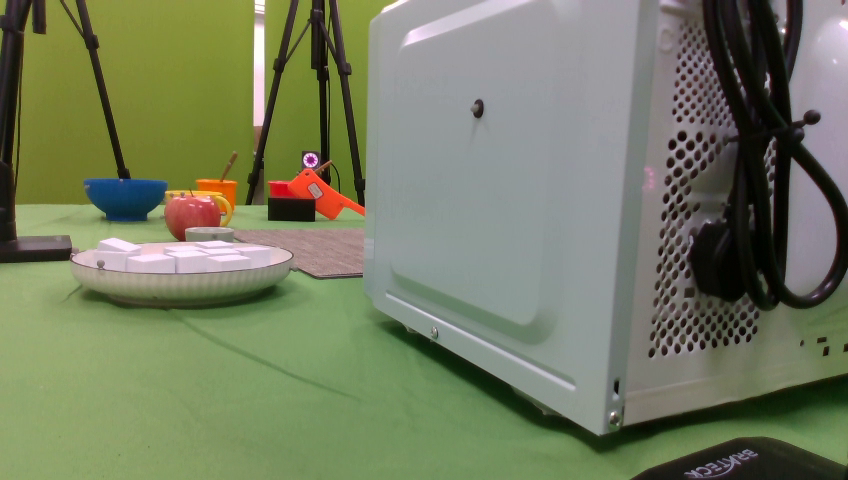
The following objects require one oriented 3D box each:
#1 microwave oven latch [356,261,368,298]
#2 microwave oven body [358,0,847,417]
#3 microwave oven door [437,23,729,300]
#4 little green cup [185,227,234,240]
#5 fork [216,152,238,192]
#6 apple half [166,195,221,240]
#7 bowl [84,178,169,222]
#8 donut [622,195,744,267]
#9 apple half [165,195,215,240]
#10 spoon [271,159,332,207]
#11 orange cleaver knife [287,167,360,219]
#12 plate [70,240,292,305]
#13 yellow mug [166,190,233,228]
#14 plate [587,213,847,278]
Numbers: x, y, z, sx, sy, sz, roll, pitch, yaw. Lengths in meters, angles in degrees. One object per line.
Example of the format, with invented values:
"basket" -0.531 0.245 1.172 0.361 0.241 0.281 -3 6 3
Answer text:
"microwave oven latch" -0.019 0.033 0.529 0.079 0.029 0.030 0 7 -25
"microwave oven body" 0.211 -0.047 0.474 0.444 0.260 0.324 -1 8 -28
"microwave oven door" 0.181 -0.072 0.621 0.358 0.243 0.039 -2 9 -29
"little green cup" -0.285 0.005 0.805 0.061 0.038 0.061 2 8 0
"fork" -0.455 -0.132 1.367 0.028 0.018 0.207 -2 -35 -37
"apple half" -0.351 -0.032 0.935 0.081 0.074 0.053 1 11 -40
"bowl" -0.584 -0.078 1.193 0.151 0.077 0.151 3 8 0
"donut" 0.220 -0.006 0.518 0.099 0.048 0.099 22 0 0
"apple half" -0.377 -0.038 0.964 0.082 0.081 0.032 -4 15 -39
"spoon" -0.308 -0.142 1.514 0.193 0.021 0.041 -41 4 9
"orange cleaver knife" -0.209 -0.089 1.383 0.212 0.077 0.012 31 4 -15
"plate" -0.242 0.031 0.618 0.208 0.039 0.207 2 8 0
"yellow mug" -0.415 -0.057 1.132 0.130 0.064 0.100 6 8 16
"plate" 0.244 0.002 0.512 0.209 0.038 0.209 2 6 0
